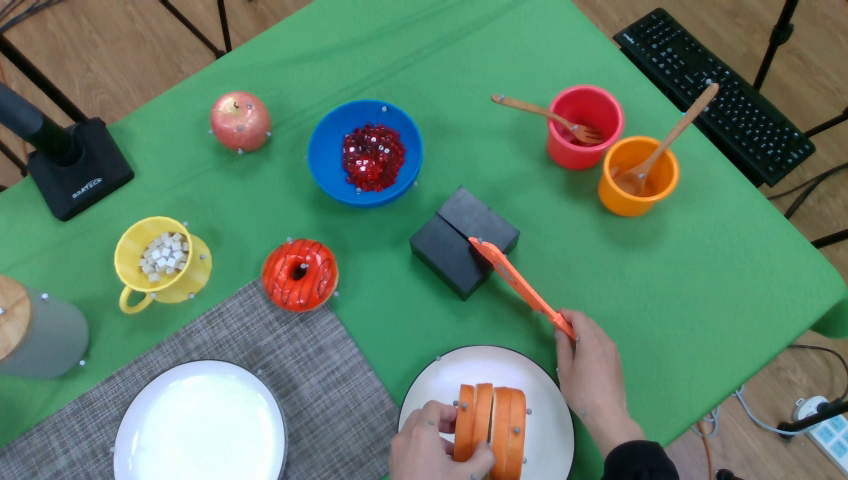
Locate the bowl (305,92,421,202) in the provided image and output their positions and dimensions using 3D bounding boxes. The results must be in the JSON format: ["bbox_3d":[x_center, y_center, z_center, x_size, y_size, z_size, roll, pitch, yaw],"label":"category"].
[{"bbox_3d":[-0.077,-0.112,0.811,0.151,0.077,0.150,-1,73,2],"label":"bowl"}]

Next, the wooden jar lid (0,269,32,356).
[{"bbox_3d":[-0.489,0.085,0.677,0.108,0.021,0.107,-1,71,4],"label":"wooden jar lid"}]

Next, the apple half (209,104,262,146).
[{"bbox_3d":[-0.262,-0.148,0.832,0.081,0.082,0.032,19,69,9],"label":"apple half"}]

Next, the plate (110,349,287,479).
[{"bbox_3d":[-0.265,0.237,0.727,0.207,0.039,0.206,-1,73,2],"label":"plate"}]

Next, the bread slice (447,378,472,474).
[{"bbox_3d":[0.038,0.203,0.671,0.018,0.135,0.106,3,69,1],"label":"bread slice"}]

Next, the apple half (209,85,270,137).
[{"bbox_3d":[-0.249,-0.182,0.844,0.080,0.075,0.053,19,68,12],"label":"apple half"}]

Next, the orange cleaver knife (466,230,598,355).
[{"bbox_3d":[0.131,0.063,0.744,0.212,0.077,0.012,45,80,-9],"label":"orange cleaver knife"}]

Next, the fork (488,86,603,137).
[{"bbox_3d":[0.162,-0.166,0.781,0.209,0.018,0.028,11,66,-38],"label":"fork"}]

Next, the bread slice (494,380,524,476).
[{"bbox_3d":[0.093,0.207,0.664,0.019,0.132,0.104,5,74,3],"label":"bread slice"}]

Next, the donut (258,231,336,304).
[{"bbox_3d":[-0.164,0.036,0.782,0.099,0.048,0.098,0,73,2],"label":"donut"}]

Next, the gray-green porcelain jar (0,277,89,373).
[{"bbox_3d":[-0.485,0.105,0.736,0.106,0.127,0.105,-1,72,2],"label":"gray-green porcelain jar"}]

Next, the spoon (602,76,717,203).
[{"bbox_3d":[0.295,-0.123,0.761,0.041,0.194,0.022,46,35,16],"label":"spoon"}]

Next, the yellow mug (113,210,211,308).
[{"bbox_3d":[-0.347,0.032,0.785,0.099,0.064,0.130,29,77,11],"label":"yellow mug"}]

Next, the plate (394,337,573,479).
[{"bbox_3d":[0.069,0.221,0.720,0.209,0.038,0.208,-1,72,3],"label":"plate"}]
